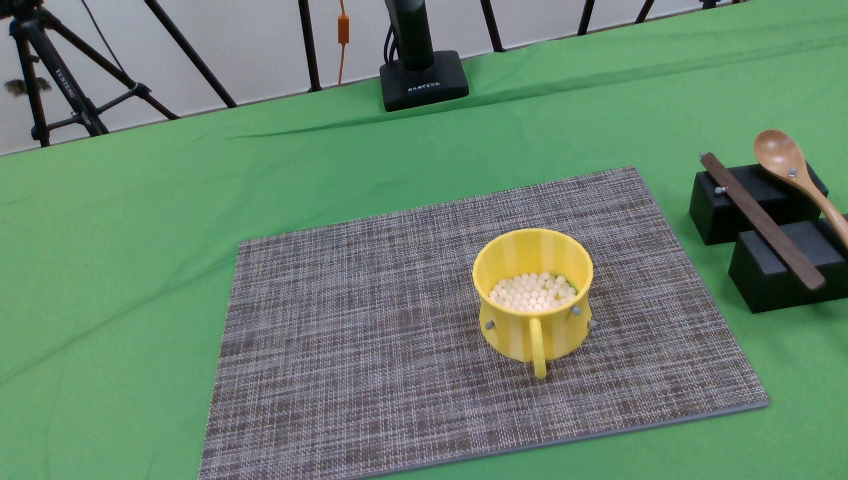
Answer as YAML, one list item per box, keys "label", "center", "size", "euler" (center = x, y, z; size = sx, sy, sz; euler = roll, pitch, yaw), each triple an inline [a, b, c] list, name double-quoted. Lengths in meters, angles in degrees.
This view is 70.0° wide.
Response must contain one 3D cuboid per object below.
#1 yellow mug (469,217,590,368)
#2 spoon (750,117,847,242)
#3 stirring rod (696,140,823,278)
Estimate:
- label: "yellow mug"
  center: [0.092, 0.047, 0.514]
  size: [0.100, 0.064, 0.129]
  euler: [-5, 46, 8]
- label: "spoon"
  center: [0.333, -0.040, 0.513]
  size: [0.041, 0.022, 0.191]
  euler: [-10, 47, 2]
- label: "stirring rod"
  center: [0.282, -0.034, 0.522]
  size: [0.014, 0.006, 0.174]
  euler: [-42, 39, 25]
